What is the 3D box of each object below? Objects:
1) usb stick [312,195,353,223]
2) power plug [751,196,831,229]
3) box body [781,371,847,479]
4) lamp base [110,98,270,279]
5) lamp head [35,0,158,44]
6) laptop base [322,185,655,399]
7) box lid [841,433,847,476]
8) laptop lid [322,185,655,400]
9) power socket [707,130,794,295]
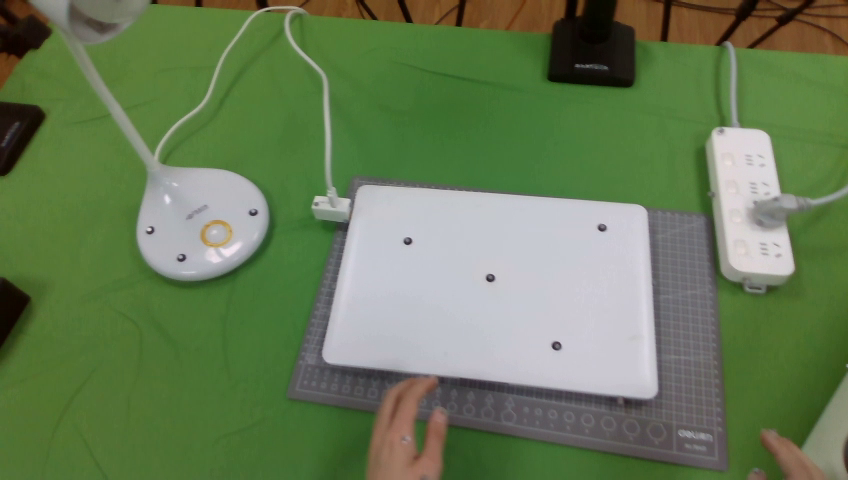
[{"bbox_3d":[-0.105,-0.037,0.743,0.059,0.027,0.021,9,55,5],"label":"usb stick"},{"bbox_3d":[0.409,-0.024,0.685,0.072,0.053,0.035,16,61,11],"label":"power plug"},{"bbox_3d":[0.520,0.162,0.517,0.252,0.162,0.363,38,68,23],"label":"box body"},{"bbox_3d":[-0.287,-0.068,0.693,0.178,0.182,0.160,32,66,23],"label":"lamp base"},{"bbox_3d":[-0.254,-0.217,0.426,0.123,0.112,0.112,34,64,-4],"label":"lamp head"},{"bbox_3d":[0.077,0.050,0.695,0.354,0.023,0.233,5,63,6],"label":"laptop base"},{"bbox_3d":[0.517,0.122,0.453,0.261,0.015,0.371,38,69,23],"label":"box lid"},{"bbox_3d":[0.076,0.046,0.684,0.356,0.013,0.240,6,62,7],"label":"laptop lid"},{"bbox_3d":[0.386,-0.042,0.723,0.072,0.033,0.225,7,59,6],"label":"power socket"}]
